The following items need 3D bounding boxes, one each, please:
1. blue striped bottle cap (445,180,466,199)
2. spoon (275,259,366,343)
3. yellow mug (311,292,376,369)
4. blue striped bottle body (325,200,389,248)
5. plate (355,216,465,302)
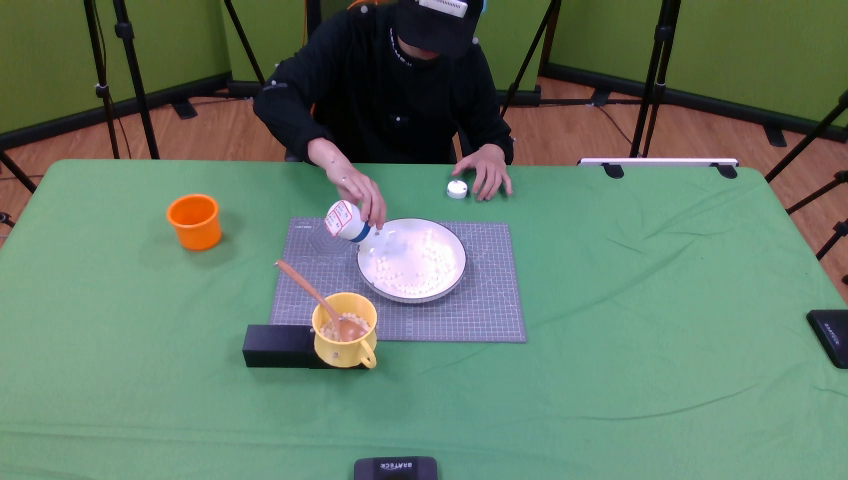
[{"bbox_3d":[0.069,-0.109,1.313,0.044,0.021,0.044,4,43,-3],"label":"blue striped bottle cap"},{"bbox_3d":[-0.161,0.098,0.946,0.194,0.021,0.041,48,56,-5],"label":"spoon"},{"bbox_3d":[-0.115,0.150,0.945,0.100,0.064,0.130,-29,57,-28],"label":"yellow mug"},{"bbox_3d":[-0.116,-0.024,1.094,0.063,0.121,0.063,-15,64,34],"label":"blue striped bottle body"},{"bbox_3d":[-0.027,0.039,1.144,0.208,0.039,0.206,2,46,-2],"label":"plate"}]
